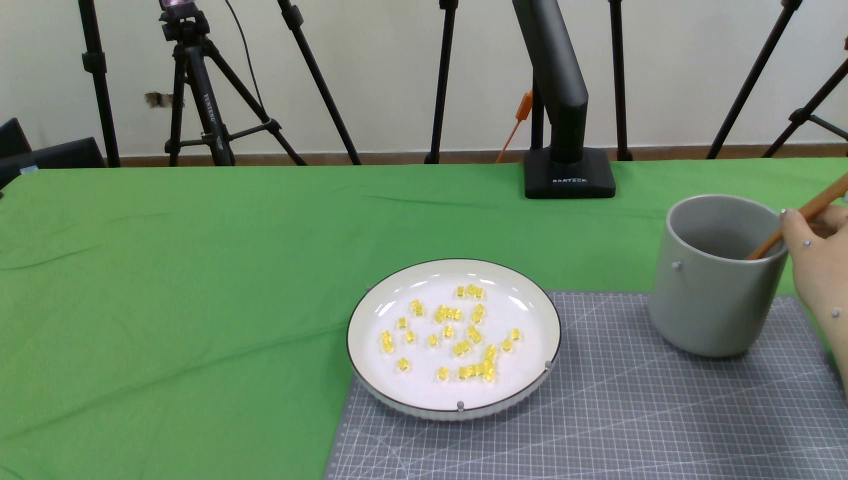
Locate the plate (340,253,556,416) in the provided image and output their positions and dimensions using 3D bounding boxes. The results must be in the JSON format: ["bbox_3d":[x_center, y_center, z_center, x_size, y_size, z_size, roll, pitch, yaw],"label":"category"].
[{"bbox_3d":[0.023,0.091,0.596,0.207,0.039,0.205,-3,37,2],"label":"plate"}]

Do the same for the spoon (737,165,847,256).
[{"bbox_3d":[0.304,-0.001,0.532,0.022,0.195,0.041,17,46,-10],"label":"spoon"}]

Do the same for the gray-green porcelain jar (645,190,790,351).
[{"bbox_3d":[0.269,0.033,0.572,0.106,0.127,0.105,-3,37,3],"label":"gray-green porcelain jar"}]
